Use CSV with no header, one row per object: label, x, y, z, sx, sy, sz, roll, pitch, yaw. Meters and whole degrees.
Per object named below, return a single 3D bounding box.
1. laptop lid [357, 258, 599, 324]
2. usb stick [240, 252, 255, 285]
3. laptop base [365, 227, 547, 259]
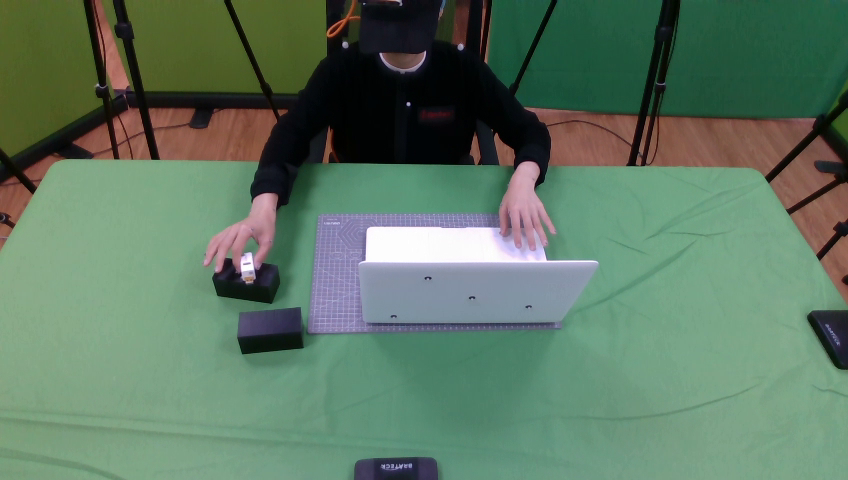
laptop lid,0.075,0.087,0.960,0.357,0.242,0.013,1,60,-5
usb stick,-0.307,0.051,1.053,0.021,0.027,0.059,-6,50,-18
laptop base,0.064,0.061,1.144,0.355,0.023,0.234,0,42,-4
